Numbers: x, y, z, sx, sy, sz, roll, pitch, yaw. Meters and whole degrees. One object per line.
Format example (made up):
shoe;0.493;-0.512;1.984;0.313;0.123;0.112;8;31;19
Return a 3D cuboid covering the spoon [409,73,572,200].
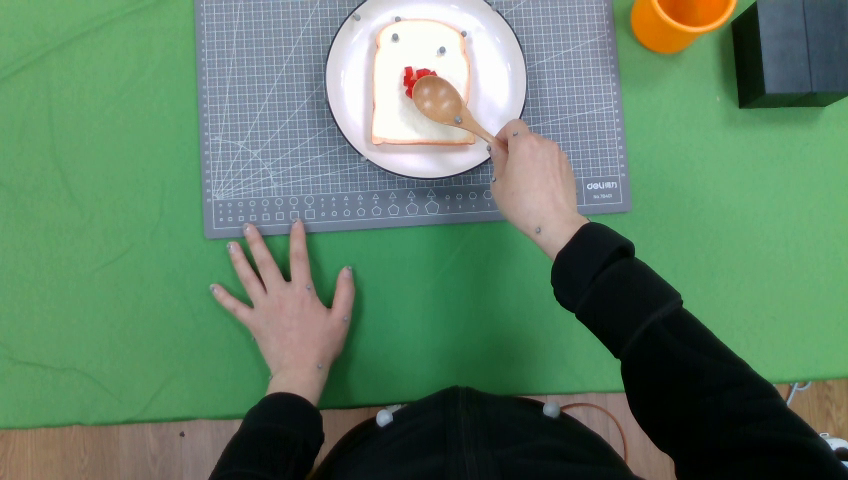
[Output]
spoon;0.063;-0.098;0.585;0.192;0.022;0.041;40;84;15

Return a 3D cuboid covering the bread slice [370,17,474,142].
bread slice;-0.006;-0.166;0.633;0.107;0.018;0.134;-4;85;-4

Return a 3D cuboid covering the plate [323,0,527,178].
plate;0.002;-0.165;0.632;0.209;0.038;0.208;0;85;-3
